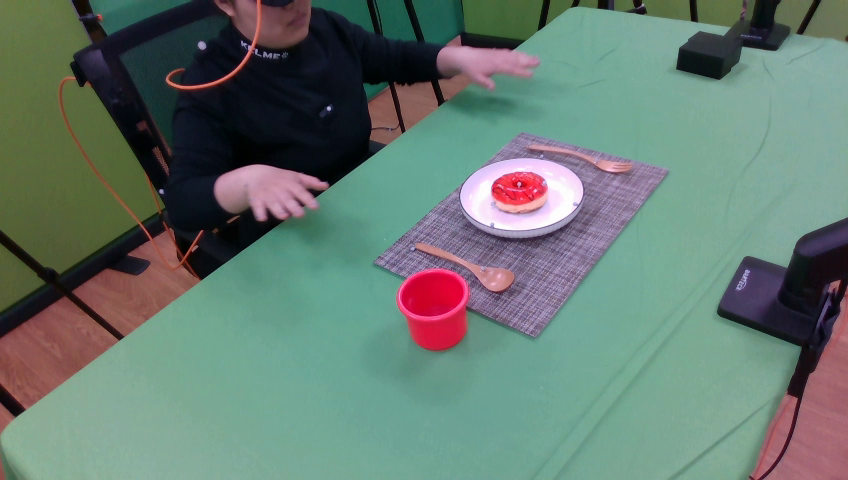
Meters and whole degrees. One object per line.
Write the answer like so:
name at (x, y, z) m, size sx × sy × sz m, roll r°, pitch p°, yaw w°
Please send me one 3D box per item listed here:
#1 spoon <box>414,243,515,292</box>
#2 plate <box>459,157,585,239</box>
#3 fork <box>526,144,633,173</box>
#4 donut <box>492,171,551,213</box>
spoon at (0.057, 0.035, 0.924) m, size 0.192 × 0.022 × 0.041 m, roll 24°, pitch 68°, yaw 34°
plate at (0.163, -0.068, 1.015) m, size 0.209 × 0.038 × 0.208 m, roll -5°, pitch 40°, yaw 5°
fork at (0.279, -0.153, 1.108) m, size 0.206 × 0.019 × 0.028 m, roll 21°, pitch 56°, yaw 29°
donut at (0.163, -0.083, 1.015) m, size 0.099 × 0.048 × 0.098 m, roll -6°, pitch 37°, yaw 5°
